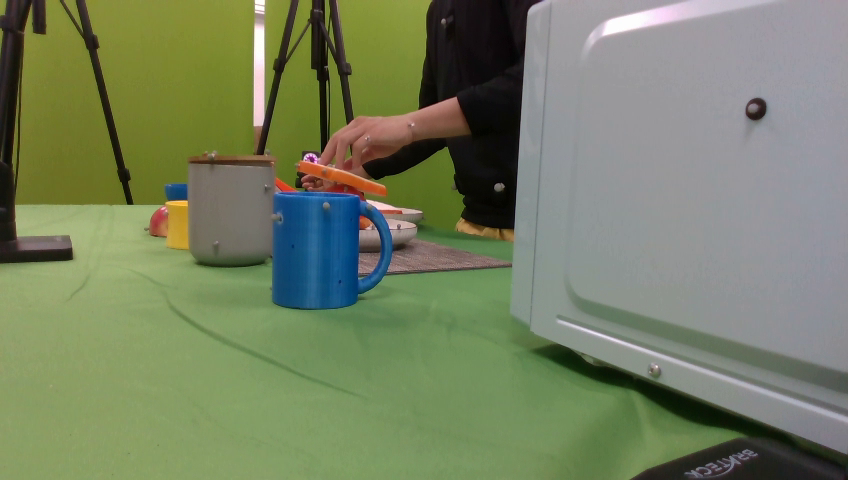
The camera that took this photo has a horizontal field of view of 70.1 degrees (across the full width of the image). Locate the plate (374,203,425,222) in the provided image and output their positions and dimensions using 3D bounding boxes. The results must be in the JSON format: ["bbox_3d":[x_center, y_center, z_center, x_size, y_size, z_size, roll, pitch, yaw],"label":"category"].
[{"bbox_3d":[-0.102,-0.053,1.299,0.209,0.038,0.209,2,8,0],"label":"plate"}]

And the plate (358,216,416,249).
[{"bbox_3d":[-0.116,-0.014,0.967,0.208,0.039,0.207,2,7,0],"label":"plate"}]

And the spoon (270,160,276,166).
[{"bbox_3d":[-0.396,-0.150,1.548,0.042,0.193,0.021,3,-37,-4],"label":"spoon"}]

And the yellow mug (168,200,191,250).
[{"bbox_3d":[-0.320,-0.023,0.904,0.130,0.064,0.100,8,10,36],"label":"yellow mug"}]

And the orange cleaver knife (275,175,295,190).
[{"bbox_3d":[-0.283,-0.087,1.343,0.212,0.077,0.012,24,-16,-41],"label":"orange cleaver knife"}]

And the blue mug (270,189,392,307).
[{"bbox_3d":[-0.089,0.005,0.588,0.117,0.106,0.082,1,7,-10],"label":"blue mug"}]

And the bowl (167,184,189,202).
[{"bbox_3d":[-0.408,-0.064,1.154,0.151,0.077,0.151,2,8,0],"label":"bowl"}]

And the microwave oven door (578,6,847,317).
[{"bbox_3d":[0.294,-0.067,0.570,0.358,0.243,0.039,-3,9,-31],"label":"microwave oven door"}]

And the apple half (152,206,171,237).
[{"bbox_3d":[-0.415,-0.034,1.017,0.081,0.053,0.074,1,10,-8],"label":"apple half"}]

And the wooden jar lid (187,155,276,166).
[{"bbox_3d":[-0.244,-0.097,0.771,0.108,0.020,0.108,-1,7,0],"label":"wooden jar lid"}]

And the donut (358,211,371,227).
[{"bbox_3d":[-0.129,-0.041,0.956,0.099,0.048,0.099,2,7,0],"label":"donut"}]

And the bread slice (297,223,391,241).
[{"bbox_3d":[-0.121,-0.015,0.970,0.106,0.018,0.135,9,9,40],"label":"bread slice"}]

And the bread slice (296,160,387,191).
[{"bbox_3d":[-0.133,-0.102,0.954,0.132,0.019,0.104,13,3,-31],"label":"bread slice"}]

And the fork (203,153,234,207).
[{"bbox_3d":[-0.480,-0.134,1.411,0.028,0.018,0.207,1,-35,0],"label":"fork"}]

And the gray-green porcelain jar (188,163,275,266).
[{"bbox_3d":[-0.246,-0.034,0.780,0.106,0.126,0.106,2,7,0],"label":"gray-green porcelain jar"}]

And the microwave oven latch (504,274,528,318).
[{"bbox_3d":[0.100,0.041,0.471,0.079,0.029,0.030,-1,7,-27],"label":"microwave oven latch"}]

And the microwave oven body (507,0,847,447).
[{"bbox_3d":[0.331,-0.042,0.425,0.444,0.260,0.324,-2,8,-31],"label":"microwave oven body"}]
